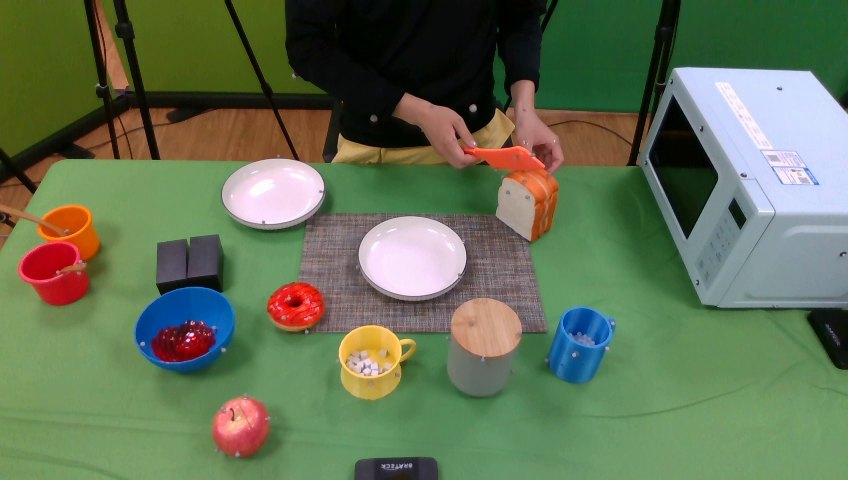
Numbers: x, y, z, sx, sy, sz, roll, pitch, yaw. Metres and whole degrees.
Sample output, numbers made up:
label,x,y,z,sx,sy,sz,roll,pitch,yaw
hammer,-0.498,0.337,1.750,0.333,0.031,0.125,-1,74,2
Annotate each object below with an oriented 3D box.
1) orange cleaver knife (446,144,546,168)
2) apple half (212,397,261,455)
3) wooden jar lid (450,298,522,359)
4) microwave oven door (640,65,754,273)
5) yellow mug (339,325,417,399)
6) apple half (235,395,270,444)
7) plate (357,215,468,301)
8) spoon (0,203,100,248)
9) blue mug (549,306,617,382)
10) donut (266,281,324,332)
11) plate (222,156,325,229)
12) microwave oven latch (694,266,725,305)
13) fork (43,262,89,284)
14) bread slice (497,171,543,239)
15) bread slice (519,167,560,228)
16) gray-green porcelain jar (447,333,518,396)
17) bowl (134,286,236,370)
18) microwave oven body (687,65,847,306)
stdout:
label,x,y,z,sx,sy,sz,roll,pitch,yaw
orange cleaver knife,0.130,-0.156,1.125,0.210,0.077,0.012,12,71,46
apple half,-0.276,0.276,0.877,0.053,0.075,0.080,-29,58,-21
wooden jar lid,0.093,0.135,0.914,0.108,0.021,0.107,2,48,-3
microwave oven door,0.523,-0.147,1.193,0.039,0.245,0.353,0,47,-3
yellow mug,-0.072,0.191,0.978,0.131,0.064,0.099,-17,50,-20
apple half,-0.245,0.259,0.893,0.033,0.082,0.081,-29,55,-22
plate,-0.022,0.037,1.141,0.208,0.039,0.206,2,46,-2
spoon,-0.683,-0.031,1.088,0.195,0.021,0.041,33,33,-38
blue mug,0.269,0.166,0.998,0.116,0.106,0.082,-19,51,-21
donut,-0.222,0.114,1.049,0.099,0.048,0.098,2,46,-2
plate,-0.308,-0.095,1.251,0.209,0.038,0.208,2,47,-2
microwave oven latch,0.523,0.082,1.115,0.030,0.029,0.078,3,46,0
fork,-0.599,0.053,1.013,0.207,0.019,0.028,-14,30,45
bread slice,0.189,-0.073,1.198,0.019,0.132,0.104,-35,56,-26
bread slice,0.228,-0.094,1.223,0.018,0.135,0.106,-36,60,-28
gray-green porcelain jar,0.091,0.178,0.960,0.106,0.127,0.105,2,46,-2
bowl,-0.377,0.155,0.981,0.151,0.077,0.150,2,46,-2
microwave oven body,0.669,-0.111,1.176,0.326,0.261,0.439,0,46,-3
